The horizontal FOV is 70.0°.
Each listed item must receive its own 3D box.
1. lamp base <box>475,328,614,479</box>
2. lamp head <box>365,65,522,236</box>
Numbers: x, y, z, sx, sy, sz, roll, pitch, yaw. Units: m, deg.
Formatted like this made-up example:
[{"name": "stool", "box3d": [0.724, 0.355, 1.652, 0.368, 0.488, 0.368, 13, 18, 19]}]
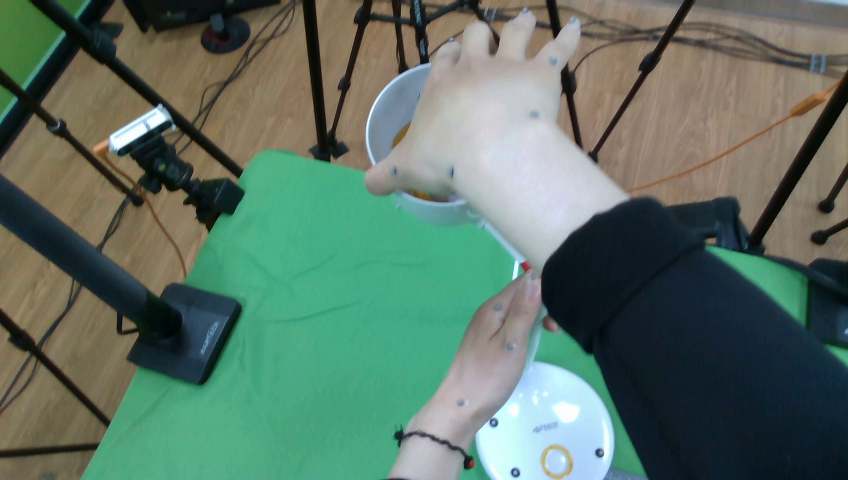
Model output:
[{"name": "lamp base", "box3d": [0.127, 0.178, 0.650, 0.161, 0.182, 0.177, -23, 59, -7]}, {"name": "lamp head", "box3d": [0.020, -0.055, 0.474, 0.112, 0.124, 0.111, -3, 68, 7]}]
